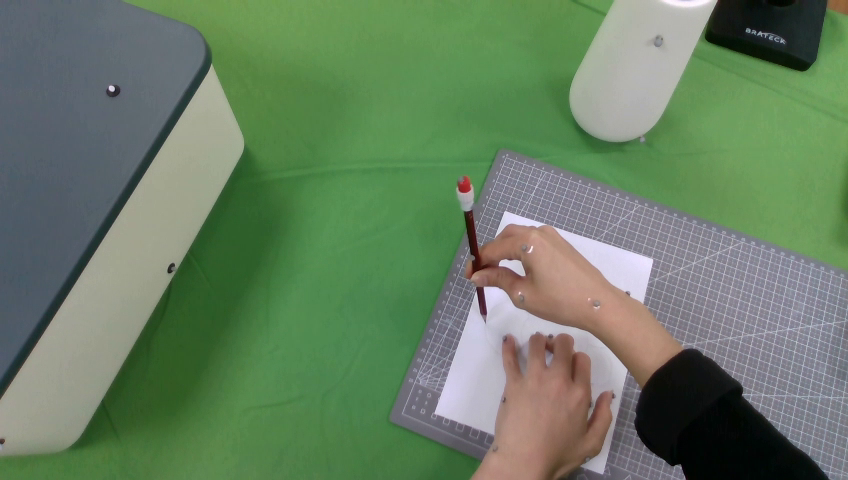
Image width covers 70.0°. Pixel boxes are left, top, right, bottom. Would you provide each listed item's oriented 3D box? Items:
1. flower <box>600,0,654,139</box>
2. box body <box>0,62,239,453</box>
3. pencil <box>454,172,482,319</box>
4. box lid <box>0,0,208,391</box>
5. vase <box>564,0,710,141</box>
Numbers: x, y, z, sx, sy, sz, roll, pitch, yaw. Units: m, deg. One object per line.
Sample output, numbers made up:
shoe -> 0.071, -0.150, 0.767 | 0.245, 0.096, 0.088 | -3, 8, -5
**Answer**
flower -> 0.194, -0.220, 0.494 | 0.044, 0.365, 0.038 | 14, 53, 8
box body -> -0.356, -0.027, 0.523 | 0.254, 0.161, 0.362 | 21, 71, 6
pencil -> 0.039, 0.015, 0.500 | 0.012, 0.196, 0.012 | -5, 51, 7
box lid -> -0.355, -0.055, 0.453 | 0.263, 0.015, 0.370 | 21, 71, 6
vase -> 0.195, -0.177, 0.567 | 0.098, 0.201, 0.097 | 0, 69, 0
